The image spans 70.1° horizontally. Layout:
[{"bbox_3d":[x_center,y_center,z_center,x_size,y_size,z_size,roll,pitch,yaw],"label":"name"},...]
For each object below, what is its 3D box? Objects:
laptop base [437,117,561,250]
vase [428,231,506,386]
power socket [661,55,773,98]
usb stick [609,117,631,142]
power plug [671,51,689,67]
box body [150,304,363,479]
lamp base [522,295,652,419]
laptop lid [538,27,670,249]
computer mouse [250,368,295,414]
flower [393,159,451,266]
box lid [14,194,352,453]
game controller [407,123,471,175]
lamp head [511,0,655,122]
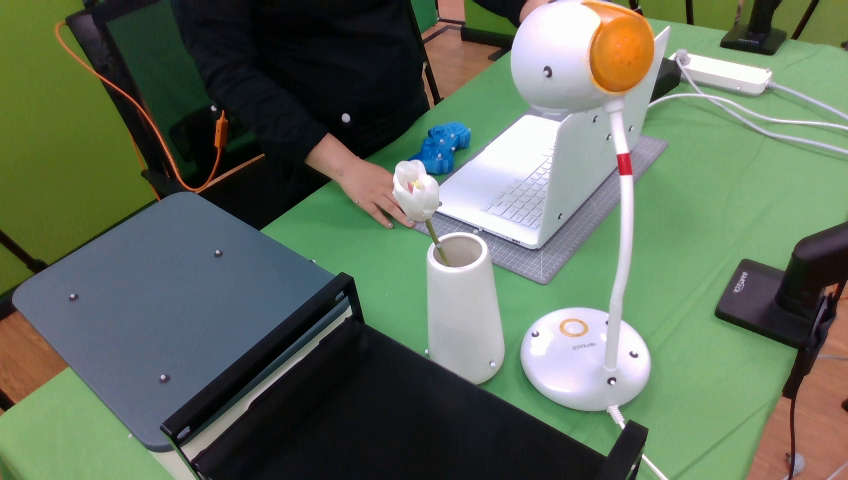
[{"bbox_3d":[0.193,-0.116,1.087,0.233,0.023,0.355,21,48,34],"label":"laptop base"},{"bbox_3d":[0.050,0.087,0.728,0.098,0.201,0.097,-3,40,3],"label":"vase"},{"bbox_3d":[0.619,-0.352,1.289,0.225,0.033,0.072,26,51,33],"label":"power socket"},{"bbox_3d":[0.370,-0.207,1.147,0.021,0.027,0.059,25,55,33],"label":"usb stick"},{"bbox_3d":[0.540,-0.379,1.302,0.073,0.053,0.035,-30,46,-23],"label":"power plug"},{"bbox_3d":[-0.284,0.123,0.765,0.361,0.161,0.255,25,49,33],"label":"box body"},{"bbox_3d":[0.201,0.095,0.710,0.161,0.181,0.177,-16,43,-10],"label":"lamp base"},{"bbox_3d":[0.283,-0.162,0.942,0.013,0.242,0.358,29,50,26],"label":"laptop lid"},{"bbox_3d":[-0.196,0.182,0.771,0.063,0.041,0.116,-12,47,-11],"label":"computer mouse"},{"bbox_3d":[0.028,0.035,0.664,0.043,0.364,0.038,35,73,29],"label":"flower"},{"bbox_3d":[-0.290,0.067,0.716,0.368,0.015,0.264,25,50,33],"label":"box lid"},{"bbox_3d":[0.029,-0.181,1.169,0.096,0.052,0.155,15,45,18],"label":"game controller"},{"bbox_3d":[0.155,-0.168,0.563,0.113,0.113,0.122,-18,23,-12],"label":"lamp head"}]
